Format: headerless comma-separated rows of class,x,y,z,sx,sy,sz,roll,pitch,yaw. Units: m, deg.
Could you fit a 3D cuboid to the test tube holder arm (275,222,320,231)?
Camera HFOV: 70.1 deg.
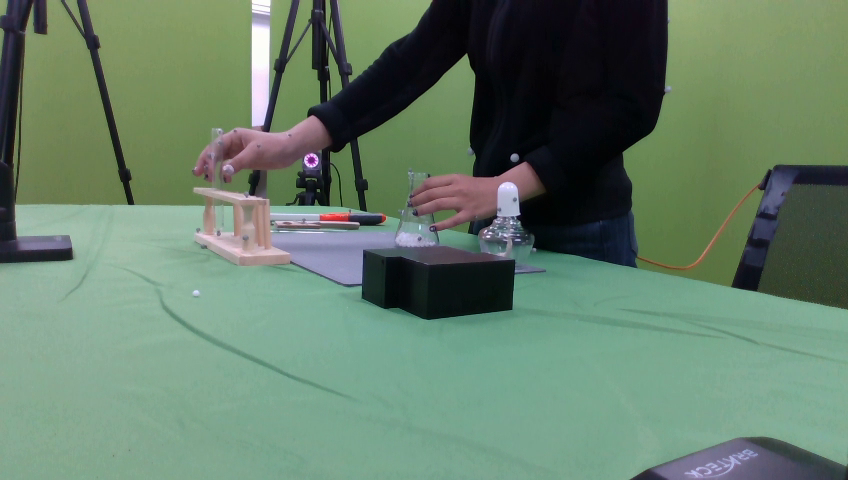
test tube holder arm,-0.239,-0.026,1.144,0.088,0.015,0.010,-2,44,-38

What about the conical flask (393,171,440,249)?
conical flask,-0.010,-0.050,0.968,0.075,0.122,0.075,3,7,0

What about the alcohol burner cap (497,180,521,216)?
alcohol burner cap,0.112,-0.056,0.809,0.034,0.048,0.034,-4,12,1

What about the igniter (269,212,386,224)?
igniter,-0.214,-0.047,1.278,0.278,0.025,0.057,-1,-2,-25

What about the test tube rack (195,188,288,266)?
test tube rack,-0.267,-0.025,0.863,0.067,0.085,0.241,-2,8,-33

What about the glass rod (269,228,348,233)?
glass rod,-0.235,-0.017,1.103,0.201,0.008,0.008,1,7,-25

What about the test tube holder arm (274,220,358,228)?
test tube holder arm,-0.206,-0.031,1.176,0.179,0.015,0.013,-4,45,-39

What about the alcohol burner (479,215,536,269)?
alcohol burner,0.113,-0.021,0.815,0.078,0.119,0.078,2,9,0

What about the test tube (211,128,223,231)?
test tube,-0.303,-0.088,0.887,0.017,0.150,0.017,2,6,0
